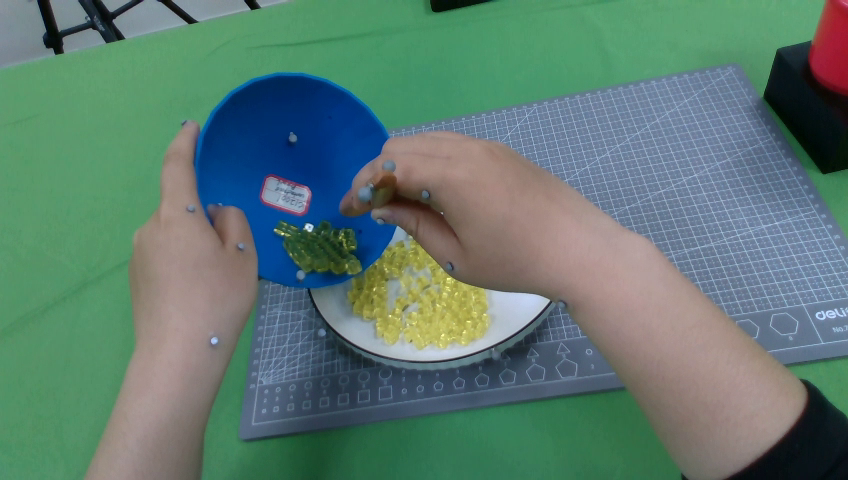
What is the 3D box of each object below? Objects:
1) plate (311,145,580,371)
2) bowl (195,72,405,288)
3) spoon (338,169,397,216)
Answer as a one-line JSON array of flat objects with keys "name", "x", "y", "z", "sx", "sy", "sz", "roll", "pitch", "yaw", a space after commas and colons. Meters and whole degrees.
[{"name": "plate", "x": 0.015, "y": 0.011, "z": 0.473, "sx": 0.207, "sy": 0.039, "sz": 0.205, "roll": -7, "pitch": 52, "yaw": 9}, {"name": "bowl", "x": -0.098, "y": -0.038, "z": 0.448, "sx": 0.151, "sy": 0.152, "sz": 0.076, "roll": -52, "pitch": 22, "yaw": -25}, {"name": "spoon", "x": -0.028, "y": -0.026, "z": 0.344, "sx": 0.041, "sy": 0.022, "sz": 0.193, "roll": -28, "pitch": 8, "yaw": -7}]
